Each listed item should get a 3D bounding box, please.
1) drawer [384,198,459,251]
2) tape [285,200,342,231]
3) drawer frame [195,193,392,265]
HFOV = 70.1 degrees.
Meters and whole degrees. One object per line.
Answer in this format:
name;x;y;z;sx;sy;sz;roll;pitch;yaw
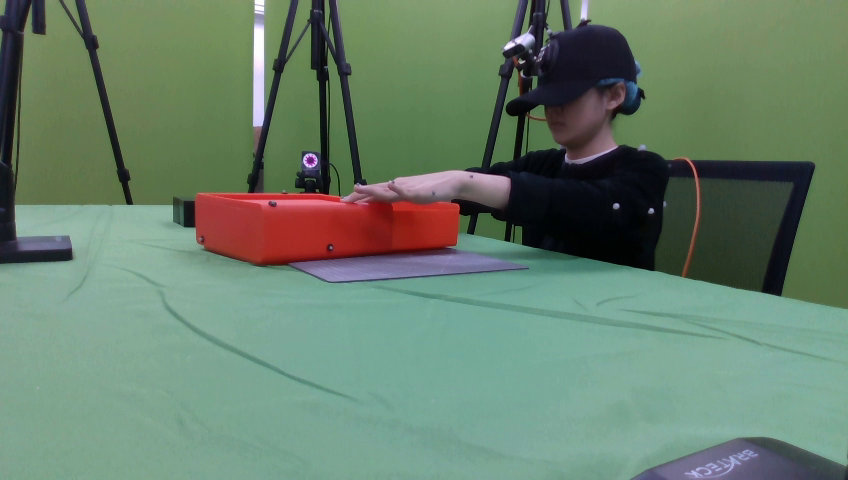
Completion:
drawer;-0.085;-0.028;0.979;0.213;0.073;0.193;-4;10;-42
tape;-0.223;-0.051;1.221;0.117;0.052;0.117;3;7;0
drawer frame;-0.189;-0.024;0.882;0.215;0.082;0.200;-5;11;-44
